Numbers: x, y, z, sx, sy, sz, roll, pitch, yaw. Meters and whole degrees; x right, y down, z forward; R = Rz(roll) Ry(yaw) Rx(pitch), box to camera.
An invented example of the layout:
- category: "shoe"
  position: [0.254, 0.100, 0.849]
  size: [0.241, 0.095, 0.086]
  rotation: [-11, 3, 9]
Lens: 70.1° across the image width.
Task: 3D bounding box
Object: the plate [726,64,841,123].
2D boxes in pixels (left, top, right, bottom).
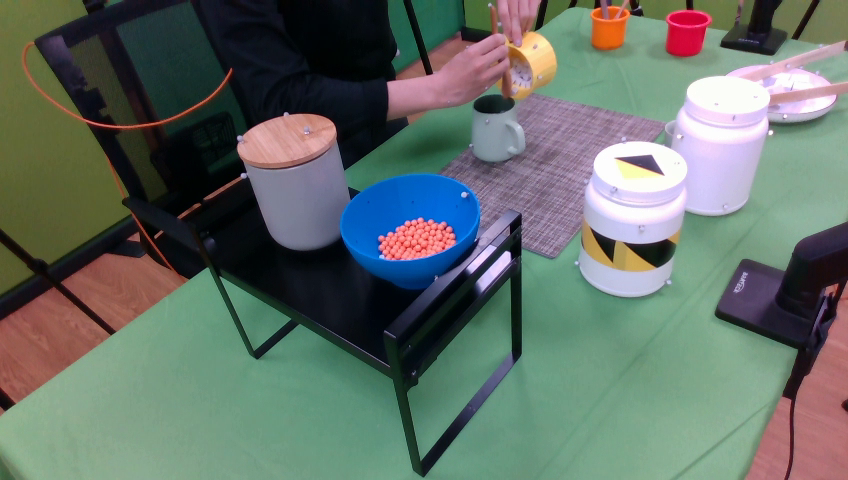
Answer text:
- category: "plate"
  position: [0.695, -0.283, 1.189]
  size: [0.207, 0.039, 0.206]
  rotation: [-4, 40, 4]

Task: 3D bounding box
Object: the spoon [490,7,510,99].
- category: "spoon"
  position: [0.125, -0.309, 1.014]
  size: [0.021, 0.195, 0.041]
  rotation: [-15, 59, 9]

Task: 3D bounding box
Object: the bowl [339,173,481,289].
- category: "bowl"
  position: [-0.011, 0.001, 0.660]
  size: [0.151, 0.077, 0.150]
  rotation: [-5, 41, 5]

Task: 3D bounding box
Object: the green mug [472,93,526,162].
- category: "green mug"
  position: [0.144, -0.202, 1.122]
  size: [0.093, 0.105, 0.124]
  rotation: [-29, 45, -23]

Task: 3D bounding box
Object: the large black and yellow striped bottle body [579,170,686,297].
- category: "large black and yellow striped bottle body"
  position: [0.287, -0.027, 0.841]
  size: [0.131, 0.185, 0.130]
  rotation: [-4, 40, 4]

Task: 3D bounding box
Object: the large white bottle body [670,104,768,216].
- category: "large white bottle body"
  position: [0.458, -0.146, 0.952]
  size: [0.130, 0.185, 0.130]
  rotation: [-4, 40, 4]

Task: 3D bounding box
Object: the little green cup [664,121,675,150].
- category: "little green cup"
  position: [0.472, -0.188, 1.113]
  size: [0.061, 0.039, 0.061]
  rotation: [-5, 40, 4]

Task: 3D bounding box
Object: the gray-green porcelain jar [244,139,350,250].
- category: "gray-green porcelain jar"
  position: [-0.143, -0.060, 0.714]
  size: [0.106, 0.127, 0.105]
  rotation: [-4, 41, 4]

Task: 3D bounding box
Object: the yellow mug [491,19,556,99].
- category: "yellow mug"
  position: [0.173, -0.326, 1.081]
  size: [0.064, 0.131, 0.099]
  rotation: [-35, 27, -30]

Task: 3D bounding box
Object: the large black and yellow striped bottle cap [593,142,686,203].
- category: "large black and yellow striped bottle cap"
  position: [0.280, -0.090, 0.786]
  size: [0.115, 0.019, 0.114]
  rotation: [-5, 41, 5]

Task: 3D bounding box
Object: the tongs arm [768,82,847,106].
- category: "tongs arm"
  position: [0.738, -0.282, 1.134]
  size: [0.388, 0.028, 0.028]
  rotation: [-9, 46, -5]

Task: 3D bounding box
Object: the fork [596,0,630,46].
- category: "fork"
  position: [0.481, -0.556, 1.452]
  size: [0.028, 0.019, 0.207]
  rotation: [40, 103, 38]

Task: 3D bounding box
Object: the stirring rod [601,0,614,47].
- category: "stirring rod"
  position: [0.439, -0.552, 1.463]
  size: [0.014, 0.006, 0.175]
  rotation: [-7, 83, 2]

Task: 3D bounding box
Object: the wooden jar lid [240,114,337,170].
- category: "wooden jar lid"
  position: [-0.149, -0.106, 0.673]
  size: [0.108, 0.021, 0.108]
  rotation: [-6, 39, 5]

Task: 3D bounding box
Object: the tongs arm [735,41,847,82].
- category: "tongs arm"
  position: [0.712, -0.332, 1.194]
  size: [0.386, 0.026, 0.050]
  rotation: [-19, 45, -16]

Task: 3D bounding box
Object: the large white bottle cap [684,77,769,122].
- category: "large white bottle cap"
  position: [0.448, -0.210, 0.898]
  size: [0.115, 0.018, 0.114]
  rotation: [-4, 40, 4]
